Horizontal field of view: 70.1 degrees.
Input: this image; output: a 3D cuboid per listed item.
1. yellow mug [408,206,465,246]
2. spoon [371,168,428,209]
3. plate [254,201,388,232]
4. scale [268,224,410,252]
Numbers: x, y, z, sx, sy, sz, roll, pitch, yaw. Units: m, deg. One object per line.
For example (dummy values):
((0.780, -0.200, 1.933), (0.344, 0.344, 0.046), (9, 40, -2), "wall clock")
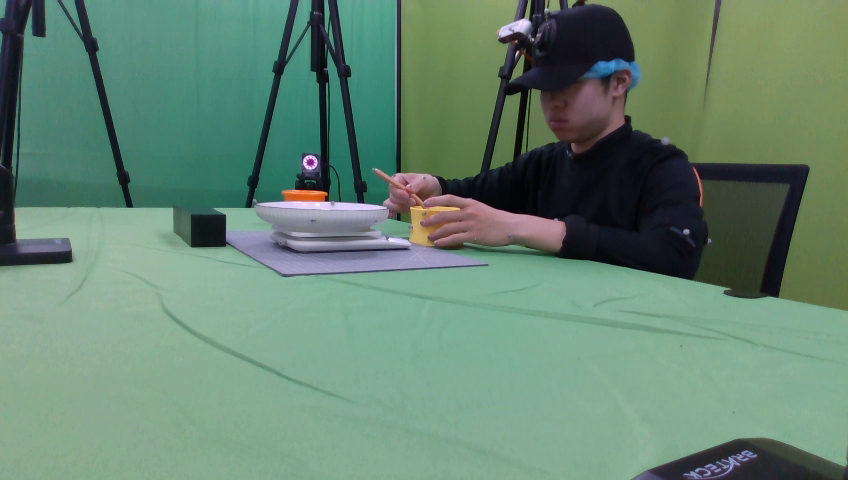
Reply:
((0.028, -0.027, 1.103), (0.099, 0.064, 0.131), (5, 6, 21), "yellow mug")
((-0.018, -0.072, 1.096), (0.193, 0.021, 0.042), (41, 24, 5), "spoon")
((-0.161, -0.038, 0.961), (0.209, 0.038, 0.209), (2, 6, 0), "plate")
((-0.137, -0.006, 0.979), (0.202, 0.031, 0.148), (-1, 8, -30), "scale")
